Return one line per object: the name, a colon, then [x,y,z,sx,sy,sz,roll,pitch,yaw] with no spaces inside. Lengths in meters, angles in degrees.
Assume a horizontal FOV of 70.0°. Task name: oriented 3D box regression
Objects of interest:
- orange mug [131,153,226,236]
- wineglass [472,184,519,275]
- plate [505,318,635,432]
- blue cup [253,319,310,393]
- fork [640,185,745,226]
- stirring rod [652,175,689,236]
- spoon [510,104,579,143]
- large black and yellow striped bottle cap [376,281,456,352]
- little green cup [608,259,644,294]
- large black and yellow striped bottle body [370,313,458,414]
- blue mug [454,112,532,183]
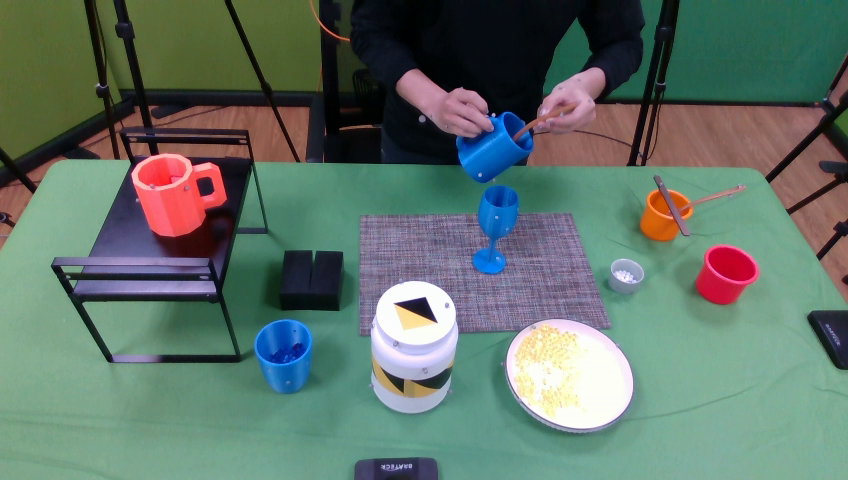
orange mug: [-0.375,-0.075,0.937,0.126,0.101,0.083,-20,50,-17]
wineglass: [0.129,-0.018,1.113,0.074,0.173,0.073,2,46,-2]
plate: [0.235,0.221,0.991,0.209,0.038,0.208,2,46,-2]
blue cup: [-0.217,0.187,0.943,0.093,0.101,0.092,4,45,-3]
fork: [0.534,-0.069,1.215,0.207,0.019,0.028,-26,27,33]
stirring rod: [0.492,-0.072,1.211,0.014,0.006,0.175,-1,46,-6]
spoon: [0.174,-0.184,1.012,0.041,0.193,0.021,-28,91,-46]
large black and yellow striped bottle cap: [-0.011,0.107,0.863,0.115,0.019,0.114,2,47,-2]
little green cup: [0.379,0.070,1.147,0.061,0.039,0.061,3,45,-2]
large black and yellow striped bottle body: [-0.017,0.165,0.924,0.131,0.185,0.130,2,46,-2]
blue mug: [0.109,-0.167,1.043,0.117,0.106,0.082,30,45,-30]
